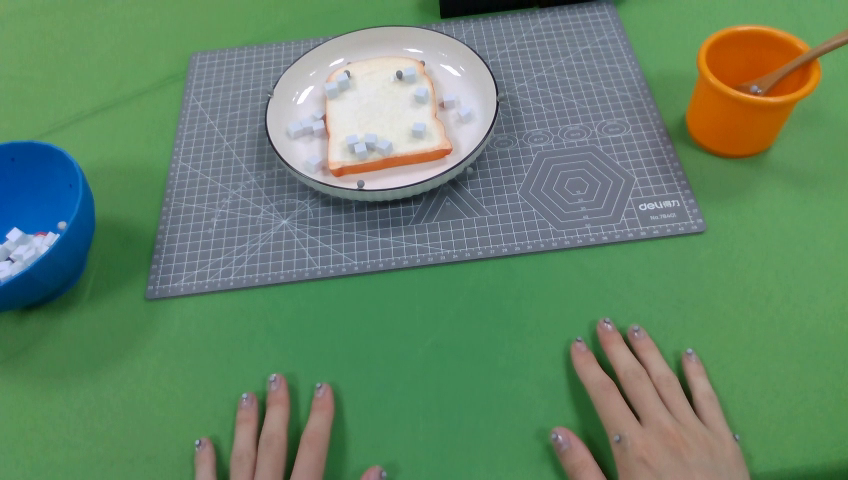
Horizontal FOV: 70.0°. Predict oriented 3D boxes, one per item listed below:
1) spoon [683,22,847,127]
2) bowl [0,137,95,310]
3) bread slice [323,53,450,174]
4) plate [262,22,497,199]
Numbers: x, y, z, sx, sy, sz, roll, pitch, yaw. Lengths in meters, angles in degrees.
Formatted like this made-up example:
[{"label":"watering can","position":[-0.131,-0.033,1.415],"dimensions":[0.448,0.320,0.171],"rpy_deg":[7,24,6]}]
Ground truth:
[{"label":"spoon","position":[0.297,-0.143,0.474],"dimensions":[0.022,0.193,0.041],"rpy_deg":[24,53,-33]},{"label":"bowl","position":[-0.326,0.000,0.480],"dimensions":[0.151,0.077,0.150],"rpy_deg":[-2,57,4]},{"label":"bread slice","position":[-0.043,-0.120,0.555],"dimensions":[0.107,0.018,0.133],"rpy_deg":[-13,58,-3]},{"label":"plate","position":[-0.040,-0.117,0.550],"dimensions":[0.209,0.038,0.207],"rpy_deg":[-2,57,4]}]
